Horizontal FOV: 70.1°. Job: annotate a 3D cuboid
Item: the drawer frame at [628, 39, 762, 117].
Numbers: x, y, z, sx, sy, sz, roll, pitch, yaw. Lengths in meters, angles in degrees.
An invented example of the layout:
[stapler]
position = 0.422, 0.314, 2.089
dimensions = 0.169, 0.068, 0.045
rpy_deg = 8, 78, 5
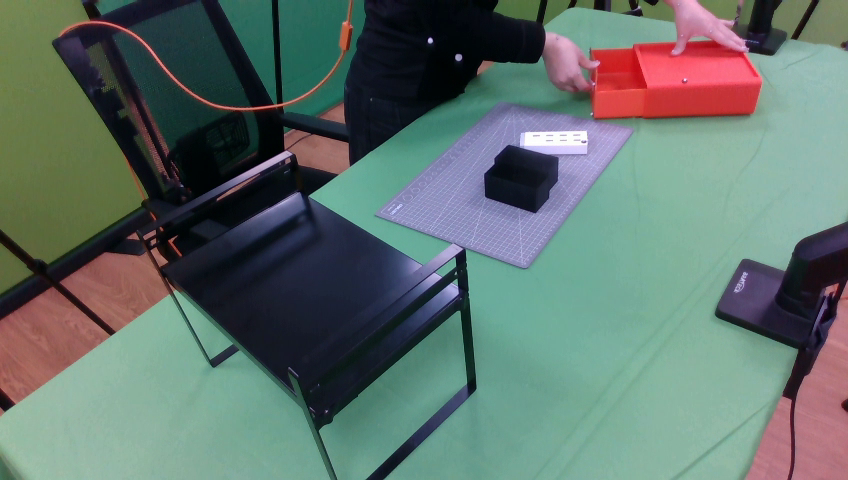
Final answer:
[drawer frame]
position = 0.540, -0.332, 1.234
dimensions = 0.213, 0.083, 0.201
rpy_deg = 0, 41, 7

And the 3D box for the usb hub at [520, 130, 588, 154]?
[usb hub]
position = 0.246, -0.185, 1.148
dimensions = 0.125, 0.025, 0.049
rpy_deg = 1, 42, 10

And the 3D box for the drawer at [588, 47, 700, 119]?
[drawer]
position = 0.451, -0.329, 1.253
dimensions = 0.211, 0.073, 0.194
rpy_deg = 2, 41, 8
